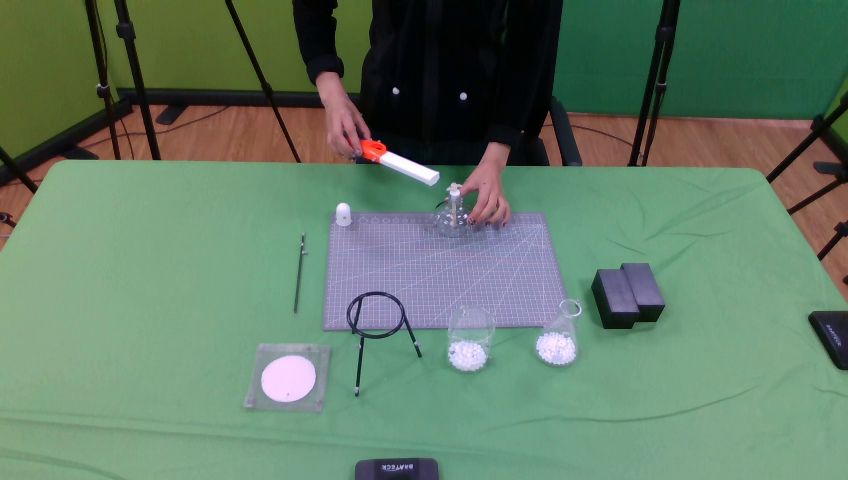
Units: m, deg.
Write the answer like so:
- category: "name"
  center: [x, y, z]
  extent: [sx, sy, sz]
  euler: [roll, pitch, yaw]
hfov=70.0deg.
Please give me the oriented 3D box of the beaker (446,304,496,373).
- category: "beaker"
  center: [0.072, 0.166, 0.992]
  extent: [0.084, 0.101, 0.073]
  euler: [-21, 51, -22]

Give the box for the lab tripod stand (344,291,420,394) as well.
- category: "lab tripod stand"
  center: [-0.075, 0.155, 0.967]
  extent: [0.148, 0.132, 0.147]
  euler: [3, 44, -3]

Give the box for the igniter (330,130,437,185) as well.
- category: "igniter"
  center: [-0.088, -0.167, 1.198]
  extent: [0.275, 0.025, 0.057]
  euler: [27, 50, 31]

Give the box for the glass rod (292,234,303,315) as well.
- category: "glass rod"
  center: [-0.236, 0.059, 1.133]
  extent: [0.008, 0.008, 0.198]
  euler: [-1, 46, -5]

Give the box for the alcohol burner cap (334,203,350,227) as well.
- category: "alcohol burner cap"
  center: [-0.166, -0.053, 1.220]
  extent: [0.034, 0.048, 0.033]
  euler: [2, 46, -1]

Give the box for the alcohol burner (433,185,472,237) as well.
- category: "alcohol burner"
  center: [0.057, -0.062, 1.198]
  extent: [0.078, 0.120, 0.077]
  euler: [1, 47, -1]

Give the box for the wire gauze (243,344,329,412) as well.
- category: "wire gauze"
  center: [-0.221, 0.219, 0.981]
  extent: [0.125, 0.011, 0.120]
  euler: [2, 45, 0]

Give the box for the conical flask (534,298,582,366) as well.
- category: "conical flask"
  center: [0.229, 0.149, 1.005]
  extent: [0.075, 0.122, 0.075]
  euler: [2, 46, -2]
